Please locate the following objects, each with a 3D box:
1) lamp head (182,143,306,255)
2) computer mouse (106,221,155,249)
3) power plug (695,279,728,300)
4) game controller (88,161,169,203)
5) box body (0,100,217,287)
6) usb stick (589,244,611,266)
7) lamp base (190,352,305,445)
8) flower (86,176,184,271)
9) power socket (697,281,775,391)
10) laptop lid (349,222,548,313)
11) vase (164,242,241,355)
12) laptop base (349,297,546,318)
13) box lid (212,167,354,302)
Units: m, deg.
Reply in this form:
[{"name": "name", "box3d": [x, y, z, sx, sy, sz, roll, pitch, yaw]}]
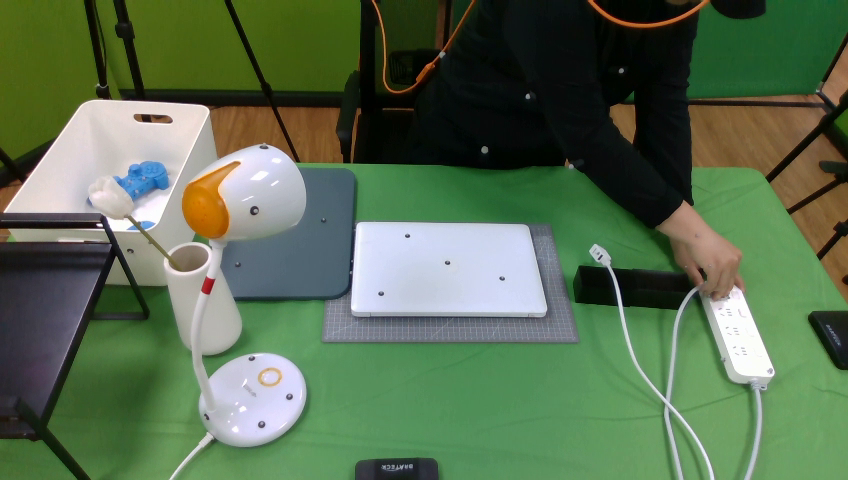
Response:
[{"name": "lamp head", "box3d": [-0.215, -0.044, 0.697, 0.112, 0.113, 0.123, 23, 31, 17]}, {"name": "computer mouse", "box3d": [-0.536, 0.009, 1.127, 0.062, 0.041, 0.117, 31, 55, 21]}, {"name": "power plug", "box3d": [0.522, 0.093, 1.113, 0.072, 0.053, 0.035, 9, 38, -1]}, {"name": "game controller", "box3d": [-0.597, -0.113, 1.234, 0.097, 0.052, 0.155, 30, 52, 19]}, {"name": "box body", "box3d": [-0.559, -0.092, 1.144, 0.254, 0.161, 0.361, 3, 46, -2]}, {"name": "usb stick", "box3d": [0.339, 0.026, 1.173, 0.027, 0.021, 0.059, 28, 18, -8]}, {"name": "lamp base", "box3d": [-0.267, 0.197, 0.876, 0.160, 0.181, 0.179, 26, 52, 20]}, {"name": "flower", "box3d": [-0.365, 0.038, 0.894, 0.038, 0.364, 0.044, -4, 53, 15]}, {"name": "power socket", "box3d": [0.551, 0.160, 1.079, 0.072, 0.033, 0.225, 3, 46, 0]}, {"name": "laptop lid", "box3d": [0.042, 0.046, 1.143, 0.357, 0.013, 0.240, 2, 44, -3]}, {"name": "vase", "box3d": [-0.349, 0.096, 0.954, 0.098, 0.201, 0.097, 3, 47, -3]}, {"name": "laptop base", "box3d": [0.041, 0.056, 1.149, 0.355, 0.023, 0.234, 1, 43, -4]}, {"name": "box lid", "box3d": [-0.276, -0.024, 1.205, 0.263, 0.015, 0.369, 0, 46, -4]}]
